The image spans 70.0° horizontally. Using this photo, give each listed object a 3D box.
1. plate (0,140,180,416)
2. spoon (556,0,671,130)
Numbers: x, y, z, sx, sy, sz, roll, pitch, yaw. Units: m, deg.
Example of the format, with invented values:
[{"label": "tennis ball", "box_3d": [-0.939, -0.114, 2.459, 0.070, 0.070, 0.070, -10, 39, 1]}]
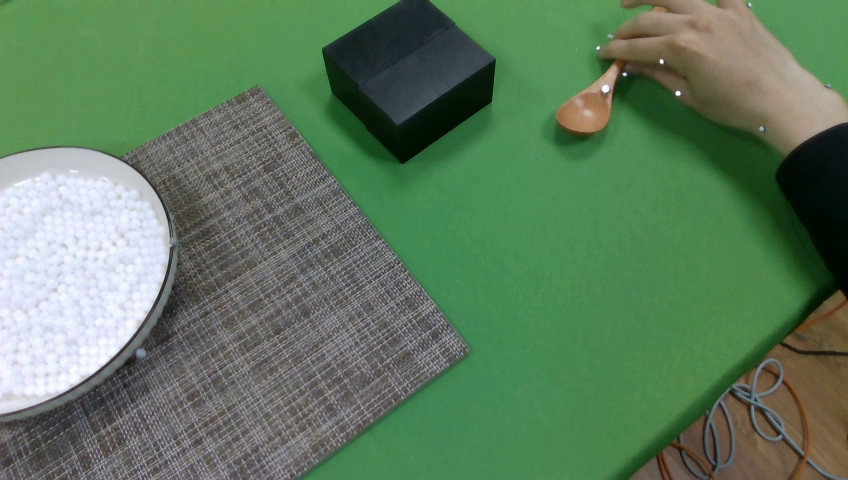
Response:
[{"label": "plate", "box_3d": [-0.276, 0.023, 0.431, 0.209, 0.038, 0.207, 0, 64, 1]}, {"label": "spoon", "box_3d": [0.172, -0.158, 0.522, 0.041, 0.022, 0.193, 29, 69, 23]}]
